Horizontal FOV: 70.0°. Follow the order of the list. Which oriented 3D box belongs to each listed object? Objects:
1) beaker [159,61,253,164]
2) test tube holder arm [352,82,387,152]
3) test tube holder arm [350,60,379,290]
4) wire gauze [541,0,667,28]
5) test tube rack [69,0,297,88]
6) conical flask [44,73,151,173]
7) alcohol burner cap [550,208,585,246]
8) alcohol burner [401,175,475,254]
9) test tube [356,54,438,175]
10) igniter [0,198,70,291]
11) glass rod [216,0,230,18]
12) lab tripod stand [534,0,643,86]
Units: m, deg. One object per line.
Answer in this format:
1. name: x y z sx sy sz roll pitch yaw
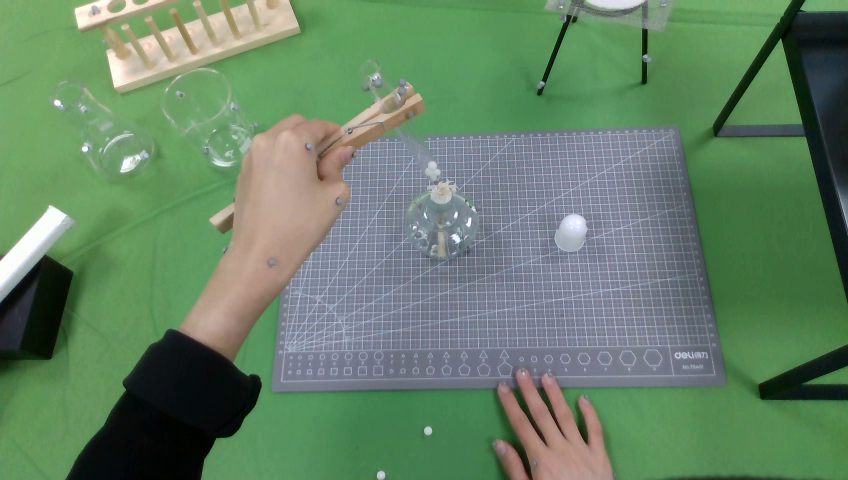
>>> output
1. beaker: -0.241 -0.136 0.682 0.074 0.101 0.083 13 69 9
2. test tube holder arm: -0.043 -0.089 0.463 0.015 0.088 0.010 4 64 -13
3. test tube holder arm: -0.047 -0.049 0.475 0.015 0.013 0.178 2 93 -17
4. wire gauze: 0.197 -0.277 0.626 0.121 0.011 0.124 19 71 9
5. test tube rack: -0.291 -0.278 0.750 0.242 0.086 0.066 -21 68 -6
6. conical flask: -0.367 -0.133 0.675 0.075 0.123 0.075 -1 67 3
7. alcohol burner cap: 0.153 -0.016 0.641 0.034 0.048 0.033 -1 68 2
8. alcohol burner: 0.014 -0.031 0.615 0.078 0.120 0.077 0 66 1
9. test tube: -0.017 -0.093 0.482 0.017 0.152 0.017 -8 63 17
10. igniter: -0.458 0.073 0.595 0.057 0.025 0.275 26 71 23
11. glass rod: -0.271 -0.337 0.701 0.008 0.201 0.008 -4 61 8
12. lab tripod stand: 0.193 -0.250 0.688 0.148 0.132 0.147 0 66 1
